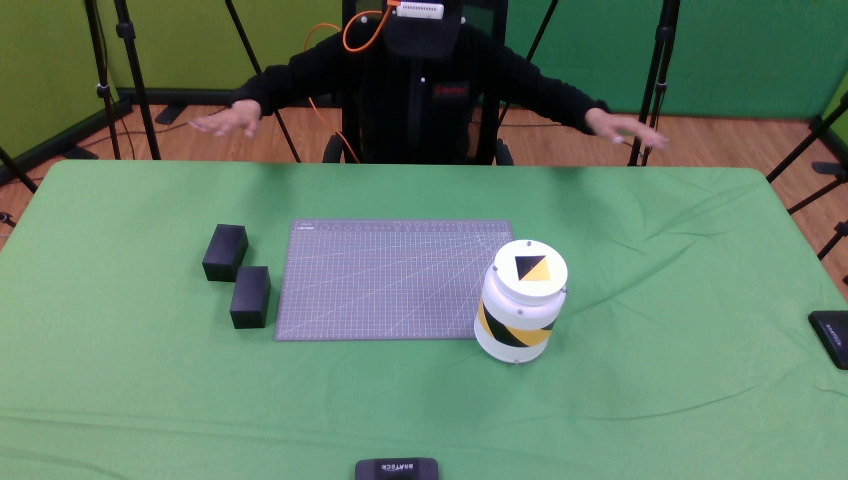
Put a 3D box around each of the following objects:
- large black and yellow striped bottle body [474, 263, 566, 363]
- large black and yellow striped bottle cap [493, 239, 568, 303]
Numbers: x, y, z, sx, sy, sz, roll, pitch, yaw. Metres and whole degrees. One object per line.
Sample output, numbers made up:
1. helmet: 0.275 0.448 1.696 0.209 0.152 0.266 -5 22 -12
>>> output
1. large black and yellow striped bottle body: 0.157 0.103 0.993 0.131 0.185 0.130 3 48 -3
2. large black and yellow striped bottle cap: 0.163 0.045 0.932 0.115 0.019 0.114 3 49 -3
